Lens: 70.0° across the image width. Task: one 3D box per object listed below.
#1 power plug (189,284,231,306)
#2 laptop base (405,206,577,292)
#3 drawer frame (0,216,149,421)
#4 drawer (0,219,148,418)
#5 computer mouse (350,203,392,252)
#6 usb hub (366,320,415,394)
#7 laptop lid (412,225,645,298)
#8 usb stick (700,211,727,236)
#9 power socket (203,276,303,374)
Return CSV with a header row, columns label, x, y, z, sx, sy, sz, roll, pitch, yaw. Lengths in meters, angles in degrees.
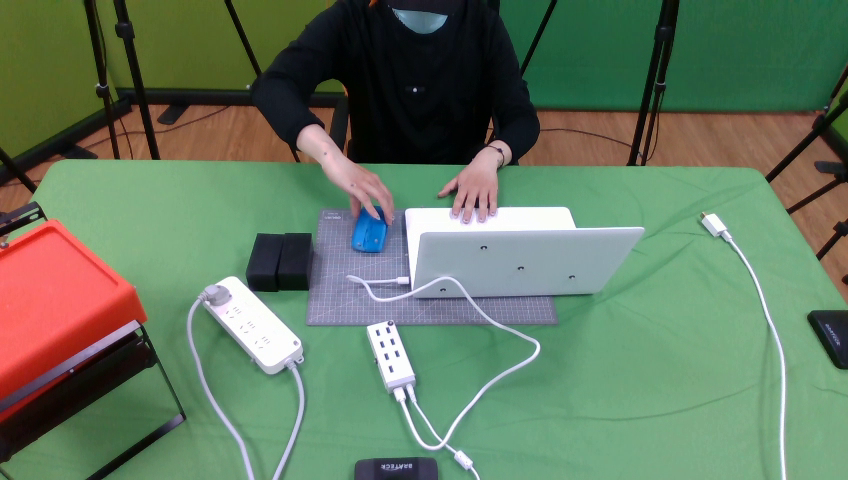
label,x,y,z,sx,sy,sz,roll,pitch,yaw
power plug,-0.368,0.100,1.037,0.072,0.053,0.035,-23,53,-27
laptop base,0.143,0.018,1.196,0.355,0.023,0.234,-1,43,-6
drawer frame,-0.510,0.093,0.780,0.201,0.083,0.213,31,52,23
drawer,-0.509,0.093,0.783,0.193,0.073,0.211,32,53,24
computer mouse,-0.104,-0.028,1.201,0.063,0.041,0.116,11,52,4
usb hub,-0.056,0.192,1.009,0.049,0.025,0.124,-12,49,-16
laptop lid,0.161,0.042,1.012,0.357,0.242,0.013,0,59,-7
usb stick,0.606,-0.038,1.273,0.027,0.021,0.059,-18,56,-20
power socket,-0.296,0.141,1.034,0.072,0.033,0.225,-35,58,-30
